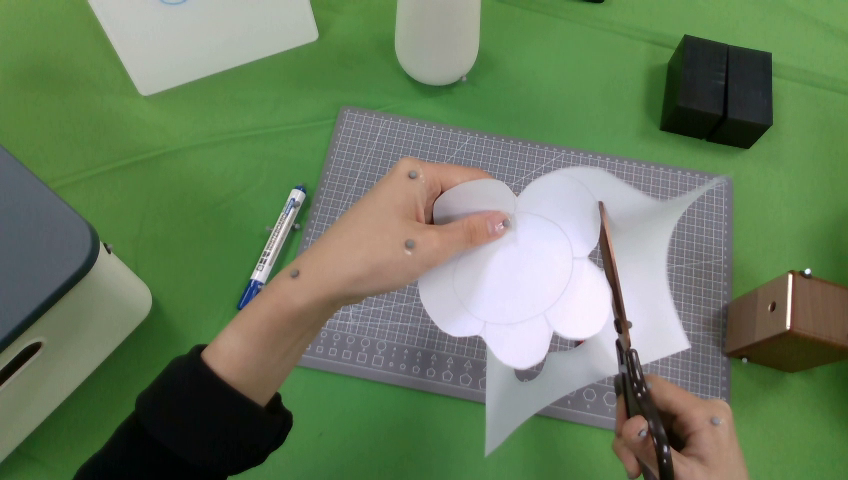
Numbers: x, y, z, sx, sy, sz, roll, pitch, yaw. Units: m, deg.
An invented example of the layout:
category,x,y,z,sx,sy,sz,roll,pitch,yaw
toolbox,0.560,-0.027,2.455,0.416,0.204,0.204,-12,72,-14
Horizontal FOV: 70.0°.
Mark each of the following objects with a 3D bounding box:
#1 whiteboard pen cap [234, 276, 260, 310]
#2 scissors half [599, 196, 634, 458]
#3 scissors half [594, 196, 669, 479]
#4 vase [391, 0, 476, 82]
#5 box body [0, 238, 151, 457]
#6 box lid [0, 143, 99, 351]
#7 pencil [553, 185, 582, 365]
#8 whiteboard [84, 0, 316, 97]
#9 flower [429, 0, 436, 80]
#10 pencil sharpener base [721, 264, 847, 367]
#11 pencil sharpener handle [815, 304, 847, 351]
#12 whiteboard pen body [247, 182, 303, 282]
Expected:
category,x,y,z,sx,sy,sz,roll,pitch,yaw
whiteboard pen cap,-0.174,0.052,0.602,0.018,0.018,0.033,17,64,5
scissors half,0.117,0.056,0.365,0.013,0.040,0.176,-11,112,7
scissors half,0.116,0.061,0.344,0.013,0.040,0.175,-12,90,2
vase,0.011,-0.259,0.637,0.098,0.201,0.097,0,67,-1
box body,-0.464,0.016,0.530,0.362,0.161,0.253,36,72,11
box lid,-0.463,-0.013,0.461,0.370,0.015,0.262,37,71,11
pencil,0.150,0.032,0.628,0.012,0.012,0.192,-2,71,-3
whiteboard,-0.271,-0.348,0.636,0.217,0.308,0.142,-22,51,-10
flower,0.009,-0.304,0.565,0.044,0.365,0.038,4,51,3
pencil sharpener base,0.342,0.074,0.567,0.077,0.107,0.061,15,68,1
pencil sharpener handle,0.392,0.084,0.555,0.030,0.068,0.036,15,63,1
whiteboard pen body,-0.157,0.000,0.625,0.017,0.017,0.140,17,67,5
